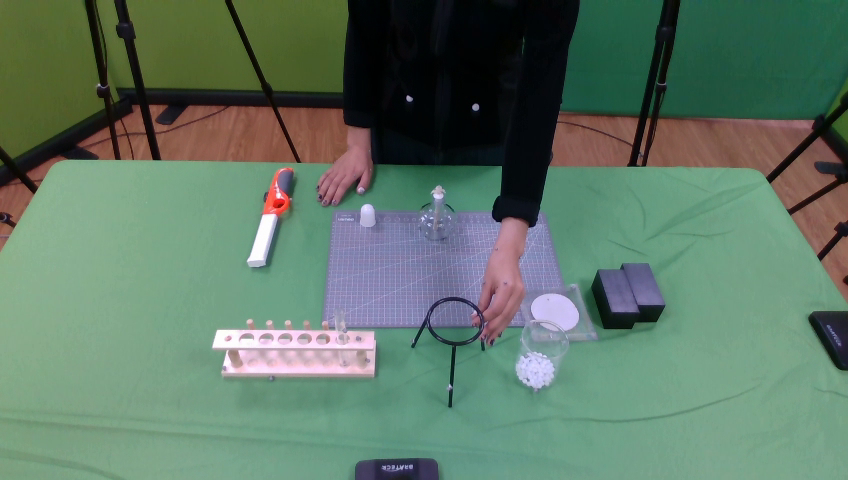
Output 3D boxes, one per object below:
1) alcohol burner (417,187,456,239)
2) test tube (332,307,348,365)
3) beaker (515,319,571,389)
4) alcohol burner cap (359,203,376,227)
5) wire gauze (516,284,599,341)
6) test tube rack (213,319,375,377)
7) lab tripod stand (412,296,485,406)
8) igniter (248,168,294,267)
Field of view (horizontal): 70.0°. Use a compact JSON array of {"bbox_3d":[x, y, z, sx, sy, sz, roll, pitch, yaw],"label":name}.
[{"bbox_3d":[0.025,-0.059,1.189,0.078,0.120,0.077,1,48,-1],"label":"alcohol burner"},{"bbox_3d":[-0.128,0.151,0.931,0.017,0.151,0.017,1,50,-2],"label":"test tube"},{"bbox_3d":[0.186,0.186,0.979,0.074,0.101,0.083,-23,51,-24],"label":"beaker"},{"bbox_3d":[-0.115,-0.053,1.223,0.034,0.048,0.033,3,46,-3],"label":"alcohol burner cap"},{"bbox_3d":[0.240,0.131,1.094,0.125,0.011,0.120,-3,47,-8],"label":"wire gauze"},{"bbox_3d":[-0.202,0.170,0.977,0.242,0.085,0.066,1,46,-3],"label":"test tube rack"},{"bbox_3d":[0.045,0.167,0.963,0.148,0.132,0.147,3,47,-3],"label":"lab tripod stand"},{"bbox_3d":[-0.307,-0.055,1.225,0.057,0.025,0.275,-3,45,7],"label":"igniter"}]
